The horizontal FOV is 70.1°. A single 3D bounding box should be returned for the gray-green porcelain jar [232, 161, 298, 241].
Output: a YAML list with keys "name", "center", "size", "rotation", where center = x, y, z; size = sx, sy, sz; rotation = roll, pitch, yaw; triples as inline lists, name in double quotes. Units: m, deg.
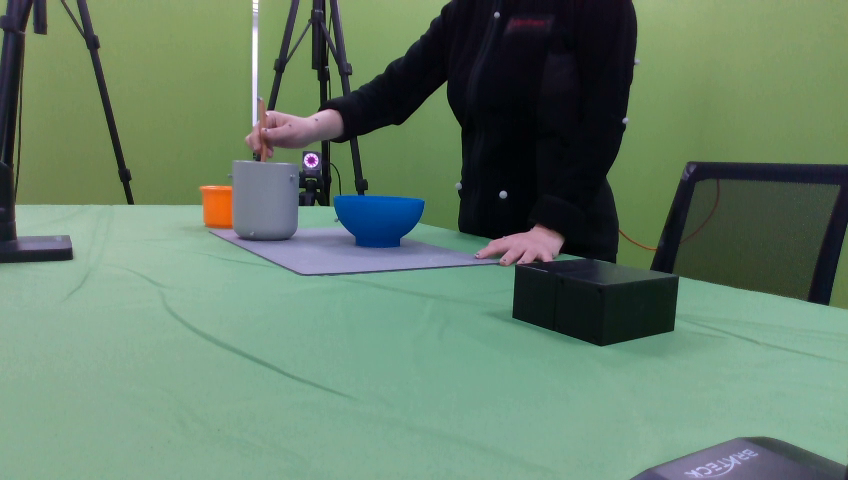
- name: "gray-green porcelain jar"
  center: [-0.262, -0.065, 0.999]
  size: [0.106, 0.126, 0.106]
  rotation: [3, 7, 0]

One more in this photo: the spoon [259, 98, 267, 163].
- name: "spoon"
  center: [-0.269, -0.137, 1.001]
  size: [0.021, 0.193, 0.042]
  rotation: [8, 5, 27]

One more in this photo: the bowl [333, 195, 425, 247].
- name: "bowl"
  center: [-0.074, -0.031, 0.987]
  size: [0.151, 0.077, 0.151]
  rotation: [2, 7, 0]
